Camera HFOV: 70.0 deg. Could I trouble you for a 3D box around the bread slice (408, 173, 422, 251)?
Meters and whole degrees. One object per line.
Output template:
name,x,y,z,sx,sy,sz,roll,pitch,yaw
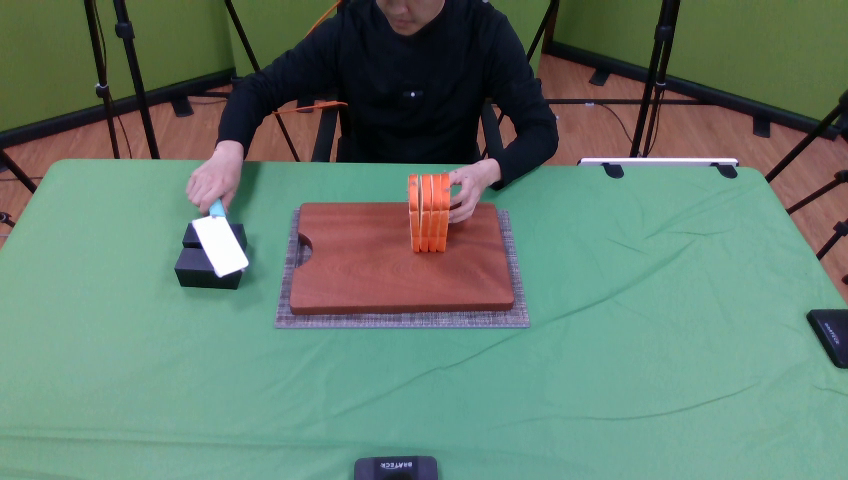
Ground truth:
bread slice,-0.017,-0.060,1.137,0.019,0.132,0.104,-4,44,1

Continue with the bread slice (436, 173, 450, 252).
bread slice,0.036,-0.058,1.137,0.018,0.135,0.106,1,48,-3

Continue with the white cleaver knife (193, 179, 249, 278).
white cleaver knife,-0.397,-0.031,1.137,0.066,0.021,0.284,-17,46,-23
